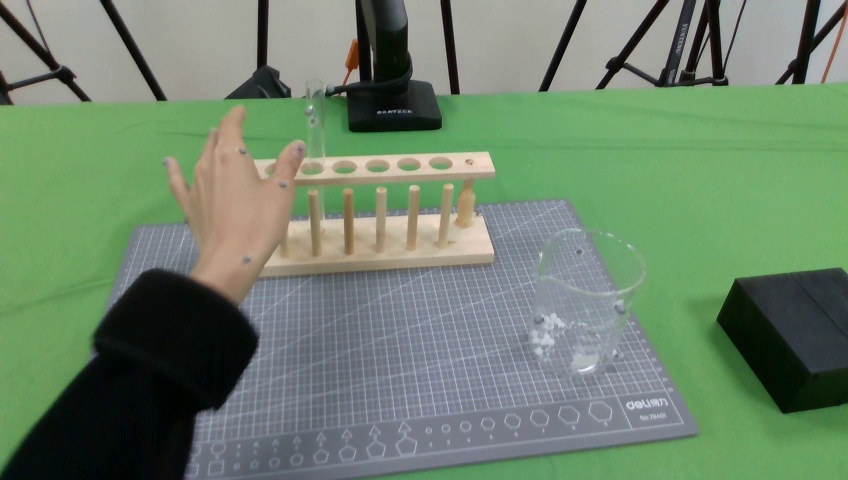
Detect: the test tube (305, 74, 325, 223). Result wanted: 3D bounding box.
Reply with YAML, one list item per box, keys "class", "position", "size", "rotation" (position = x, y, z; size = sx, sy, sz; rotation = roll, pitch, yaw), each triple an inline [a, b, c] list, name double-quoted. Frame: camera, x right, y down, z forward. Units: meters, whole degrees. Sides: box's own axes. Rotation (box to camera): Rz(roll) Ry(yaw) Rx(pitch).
- class: "test tube"
  position: [-0.097, -0.074, 0.534]
  size: [0.017, 0.151, 0.017]
  rotation: [5, 40, -4]

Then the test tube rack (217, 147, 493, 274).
- class: "test tube rack"
  position: [-0.059, -0.029, 0.559]
  size: [0.243, 0.086, 0.066]
  rotation: [-3, 41, -7]

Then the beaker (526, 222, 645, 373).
- class: "beaker"
  position: [0.116, 0.048, 0.467]
  size: [0.084, 0.101, 0.073]
  rotation: [-10, 41, -12]
